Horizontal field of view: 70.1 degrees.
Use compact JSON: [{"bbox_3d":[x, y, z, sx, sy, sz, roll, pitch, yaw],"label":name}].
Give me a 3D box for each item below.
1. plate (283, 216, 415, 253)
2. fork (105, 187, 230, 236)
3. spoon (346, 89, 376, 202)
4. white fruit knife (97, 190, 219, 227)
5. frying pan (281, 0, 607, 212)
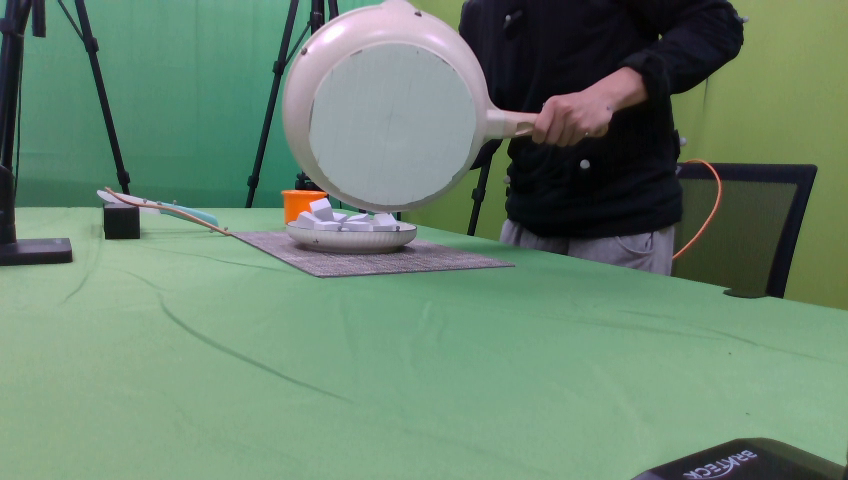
[{"bbox_3d":[-0.119,-0.009,0.968,0.208,0.039,0.207,3,7,0],"label":"plate"},{"bbox_3d":[-0.428,-0.047,1.020,0.208,0.018,0.028,19,-10,-26],"label":"fork"},{"bbox_3d":[-0.088,-0.144,0.891,0.042,0.193,0.021,15,-30,-22],"label":"spoon"},{"bbox_3d":[-0.468,-0.057,1.079,0.208,0.027,0.016,16,-1,-29],"label":"white fruit knife"},{"bbox_3d":[0.051,-0.171,0.865,0.490,0.306,0.102,-4,30,-19],"label":"frying pan"}]
